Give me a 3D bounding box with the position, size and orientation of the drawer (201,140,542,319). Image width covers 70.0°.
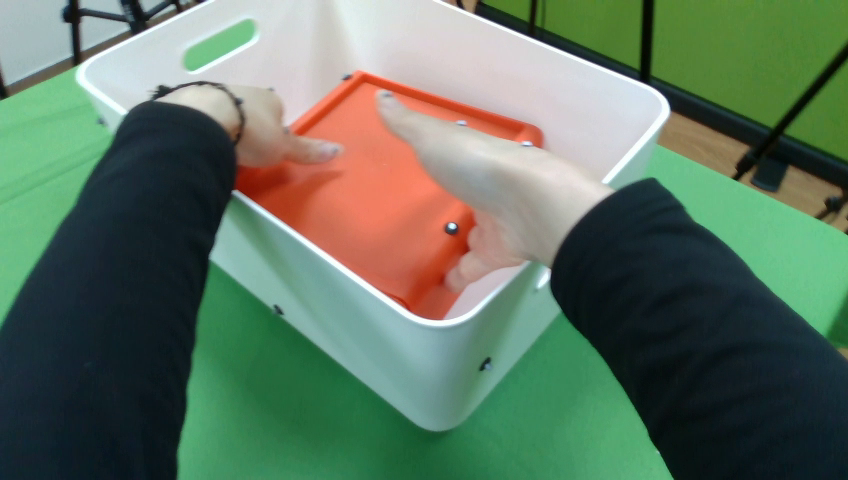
[{"bbox_3d":[-0.036,-0.038,0.505,0.193,0.074,0.211,25,38,25],"label":"drawer"}]

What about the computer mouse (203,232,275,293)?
[{"bbox_3d":[-0.103,0.009,0.455,0.117,0.041,0.062,5,46,-3],"label":"computer mouse"}]

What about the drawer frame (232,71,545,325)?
[{"bbox_3d":[-0.037,-0.036,0.507,0.200,0.083,0.213,22,52,23],"label":"drawer frame"}]

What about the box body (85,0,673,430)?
[{"bbox_3d":[-0.039,-0.058,0.486,0.361,0.162,0.254,33,57,26],"label":"box body"}]
